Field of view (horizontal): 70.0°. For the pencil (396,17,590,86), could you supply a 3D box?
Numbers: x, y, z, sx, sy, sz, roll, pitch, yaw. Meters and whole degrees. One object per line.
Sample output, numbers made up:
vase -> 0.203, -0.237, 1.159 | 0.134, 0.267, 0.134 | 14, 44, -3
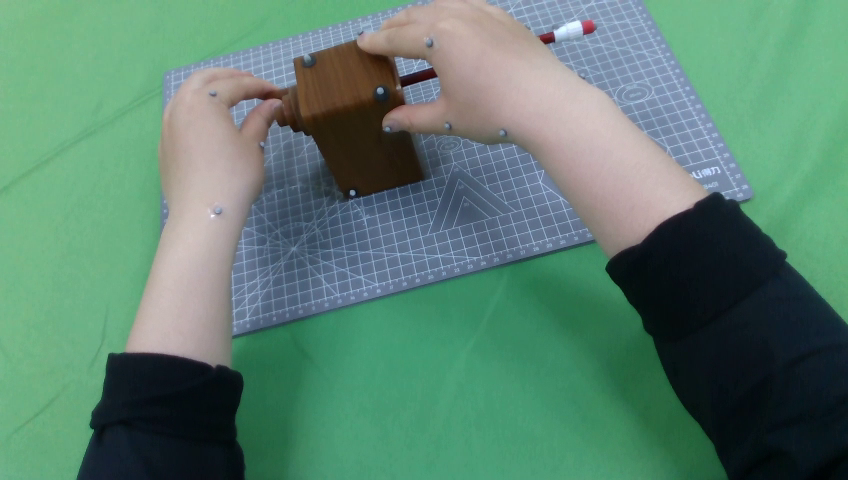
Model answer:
pencil -> 0.023, -0.126, 0.428 | 0.194, 0.012, 0.012 | -16, 60, 3

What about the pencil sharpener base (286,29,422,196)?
pencil sharpener base -> -0.051, -0.091, 0.456 | 0.077, 0.108, 0.061 | -16, 60, 2

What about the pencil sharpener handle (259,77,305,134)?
pencil sharpener handle -> -0.107, -0.099, 0.445 | 0.030, 0.036, 0.067 | -16, 39, 2
